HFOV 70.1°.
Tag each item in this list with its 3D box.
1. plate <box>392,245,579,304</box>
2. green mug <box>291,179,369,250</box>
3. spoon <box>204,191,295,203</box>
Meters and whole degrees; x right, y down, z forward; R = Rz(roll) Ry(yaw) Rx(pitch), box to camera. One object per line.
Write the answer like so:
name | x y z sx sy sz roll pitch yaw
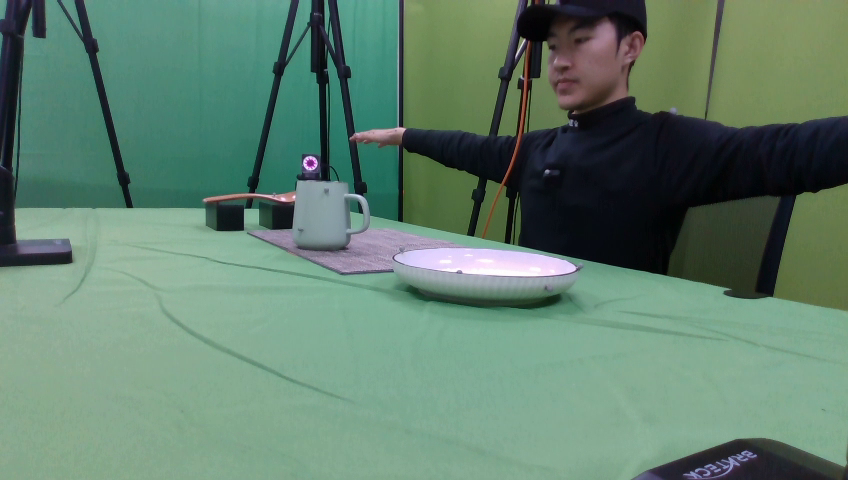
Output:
plate | 0.066 0.038 0.683 0.209 0.038 0.209 2 7 0
green mug | -0.144 -0.040 0.944 0.125 0.105 0.093 4 7 16
spoon | -0.339 -0.086 1.208 0.195 0.021 0.041 -2 29 -30
